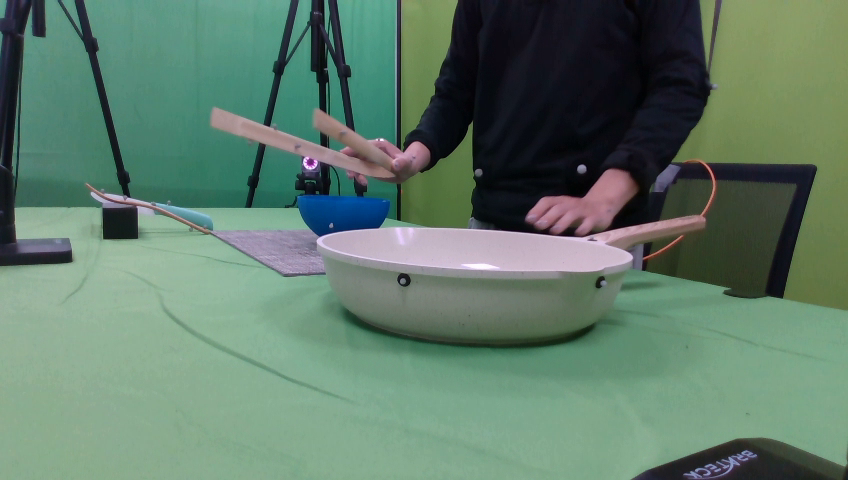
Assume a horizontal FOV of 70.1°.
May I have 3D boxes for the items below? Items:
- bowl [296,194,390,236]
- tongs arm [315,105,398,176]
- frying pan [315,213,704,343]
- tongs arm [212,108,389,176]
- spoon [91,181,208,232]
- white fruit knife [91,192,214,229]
[{"bbox_3d":[-0.132,-0.032,0.980,0.151,0.077,0.151,2,7,0],"label":"bowl"},{"bbox_3d":[-0.087,-0.135,0.883,0.028,0.027,0.388,-3,-3,11],"label":"tongs arm"},{"bbox_3d":[0.133,0.014,0.629,0.490,0.102,0.305,-11,14,-29],"label":"frying pan"},{"bbox_3d":[-0.160,-0.138,0.908,0.050,0.026,0.386,0,-3,23],"label":"tongs arm"},{"bbox_3d":[-0.461,-0.053,1.023,0.195,0.021,0.041,21,22,-24],"label":"spoon"},{"bbox_3d":[-0.477,-0.055,1.077,0.208,0.027,0.016,15,-5,-30],"label":"white fruit knife"}]
